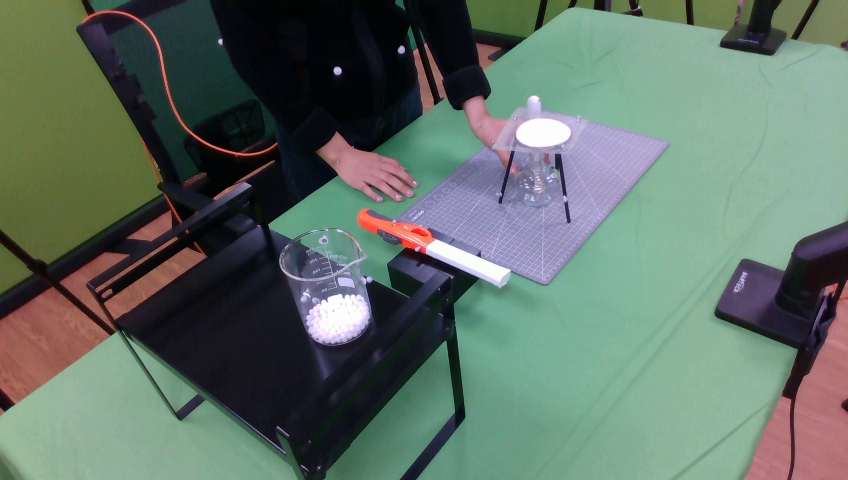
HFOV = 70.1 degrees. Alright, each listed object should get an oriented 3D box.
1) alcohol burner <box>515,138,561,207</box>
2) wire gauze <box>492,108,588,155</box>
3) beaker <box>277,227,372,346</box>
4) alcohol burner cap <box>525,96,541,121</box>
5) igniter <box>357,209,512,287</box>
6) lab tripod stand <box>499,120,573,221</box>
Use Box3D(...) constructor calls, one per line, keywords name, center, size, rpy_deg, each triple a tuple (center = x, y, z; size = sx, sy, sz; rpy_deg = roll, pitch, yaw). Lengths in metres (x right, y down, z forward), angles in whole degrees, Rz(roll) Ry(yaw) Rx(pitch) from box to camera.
Box3D(name="alcohol burner", center=(0.189, -0.116, 1.008), size=(0.078, 0.119, 0.077), rpy_deg=(-6, 39, 5))
Box3D(name="wire gauze", center=(0.185, -0.170, 0.953), size=(0.121, 0.011, 0.125), rpy_deg=(13, 44, 22))
Box3D(name="beaker", center=(-0.090, 0.048, 0.593), size=(0.084, 0.101, 0.073), rpy_deg=(-3, 41, 5))
Box3D(name="alcohol burner cap", center=(0.225, -0.273, 1.243), size=(0.034, 0.048, 0.033), rpy_deg=(-3, 41, 3))
Box3D(name="igniter", center=(0.004, 0.006, 0.891), size=(0.274, 0.025, 0.057), rpy_deg=(23, 37, 30))
Box3D(name="lab tripod stand", center=(0.198, -0.116, 0.992), size=(0.148, 0.132, 0.147), rpy_deg=(-3, 41, 3))
